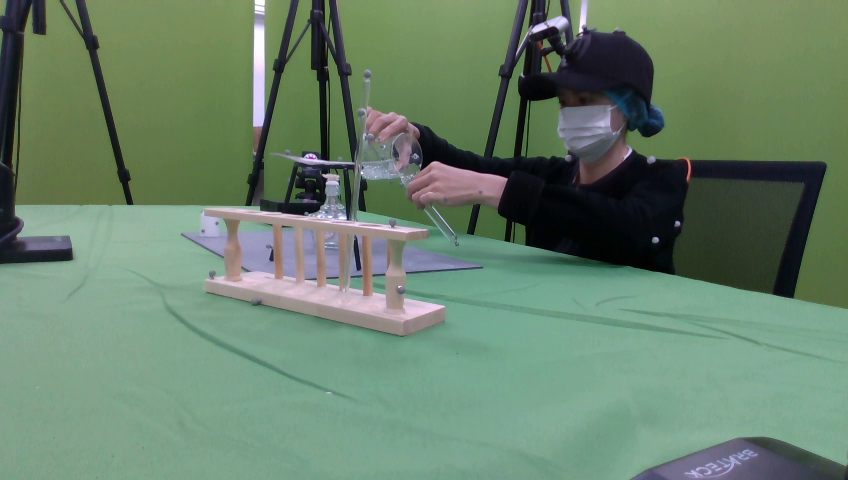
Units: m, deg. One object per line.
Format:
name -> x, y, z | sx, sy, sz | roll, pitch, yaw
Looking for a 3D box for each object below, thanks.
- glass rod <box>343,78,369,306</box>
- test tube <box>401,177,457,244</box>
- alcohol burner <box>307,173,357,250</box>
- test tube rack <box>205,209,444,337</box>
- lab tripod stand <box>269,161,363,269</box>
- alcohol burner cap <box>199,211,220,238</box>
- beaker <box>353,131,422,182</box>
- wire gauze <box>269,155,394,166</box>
glass rod -> -0.059, -0.038, 0.522 | 0.008, 0.199, 0.008 | 6, 5, 0
test tube -> 0.008, -0.049, 0.963 | 0.017, 0.017, 0.149 | -5, 48, -45
alcohol burner -> -0.144, -0.045, 0.940 | 0.078, 0.119, 0.078 | 1, 8, 0
test tube rack -> -0.100, 0.021, 0.565 | 0.241, 0.085, 0.067 | 7, 8, 32
lab tripod stand -> -0.125, -0.036, 0.794 | 0.148, 0.131, 0.148 | 5, 7, 0
alcohol burner cap -> -0.356, -0.027, 1.002 | 0.034, 0.048, 0.034 | 2, 7, 0
beaker -> -0.064, -0.137, 1.029 | 0.100, 0.084, 0.074 | 0, -2, 43
wire gauze -> -0.121, -0.102, 0.785 | 0.122, 0.011, 0.124 | -3, 10, -39
